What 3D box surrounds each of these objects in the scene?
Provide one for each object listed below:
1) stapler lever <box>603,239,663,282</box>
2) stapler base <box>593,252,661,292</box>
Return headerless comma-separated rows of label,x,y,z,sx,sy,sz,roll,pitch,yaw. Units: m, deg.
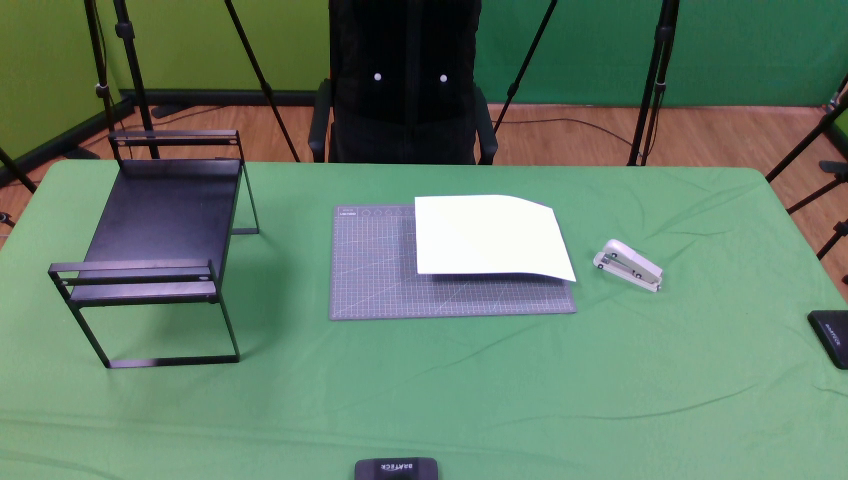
stapler lever,0.398,0.037,1.155,0.117,0.040,0.027,26,52,18
stapler base,0.395,0.054,1.174,0.130,0.024,0.041,26,52,18
